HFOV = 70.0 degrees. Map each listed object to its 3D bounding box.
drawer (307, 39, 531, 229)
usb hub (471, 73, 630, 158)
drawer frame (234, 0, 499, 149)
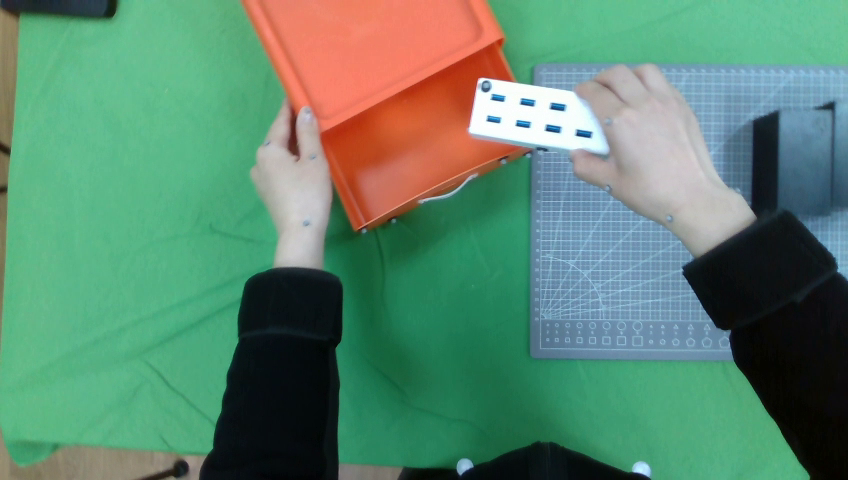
[{"bbox_3d":[-0.025,-0.143,0.583,0.194,0.073,0.211,-26,89,1],"label":"drawer"},{"bbox_3d":[0.105,-0.106,0.512,0.125,0.025,0.049,13,91,10],"label":"usb hub"},{"bbox_3d":[-0.067,-0.228,0.579,0.201,0.083,0.213,-29,89,1],"label":"drawer frame"}]
